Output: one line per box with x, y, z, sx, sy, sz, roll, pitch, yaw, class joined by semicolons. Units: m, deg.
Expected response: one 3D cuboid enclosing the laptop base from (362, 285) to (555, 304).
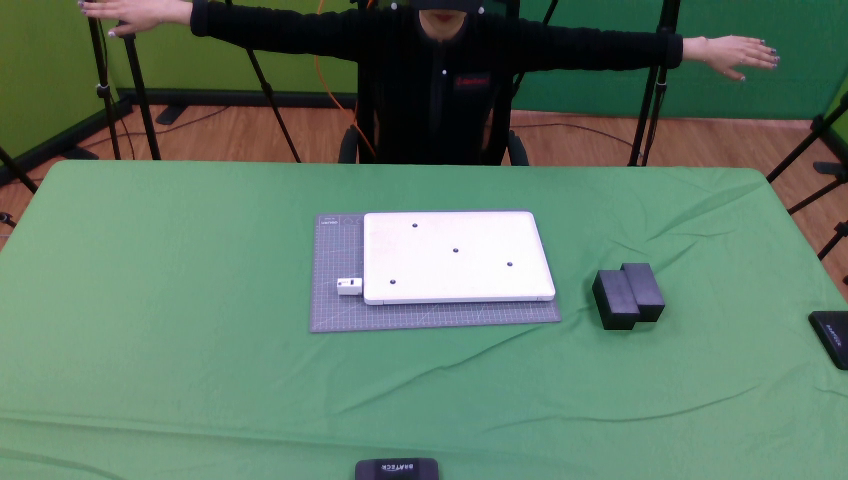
0.059;0.032;1.174;0.355;0.023;0.234;-1;43;-5;laptop base

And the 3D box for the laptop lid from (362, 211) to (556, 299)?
0.059;0.022;1.168;0.357;0.013;0.240;0;44;-4;laptop lid

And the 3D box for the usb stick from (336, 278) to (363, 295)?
-0.128;0.083;1.093;0.059;0.027;0.021;2;44;-5;usb stick
